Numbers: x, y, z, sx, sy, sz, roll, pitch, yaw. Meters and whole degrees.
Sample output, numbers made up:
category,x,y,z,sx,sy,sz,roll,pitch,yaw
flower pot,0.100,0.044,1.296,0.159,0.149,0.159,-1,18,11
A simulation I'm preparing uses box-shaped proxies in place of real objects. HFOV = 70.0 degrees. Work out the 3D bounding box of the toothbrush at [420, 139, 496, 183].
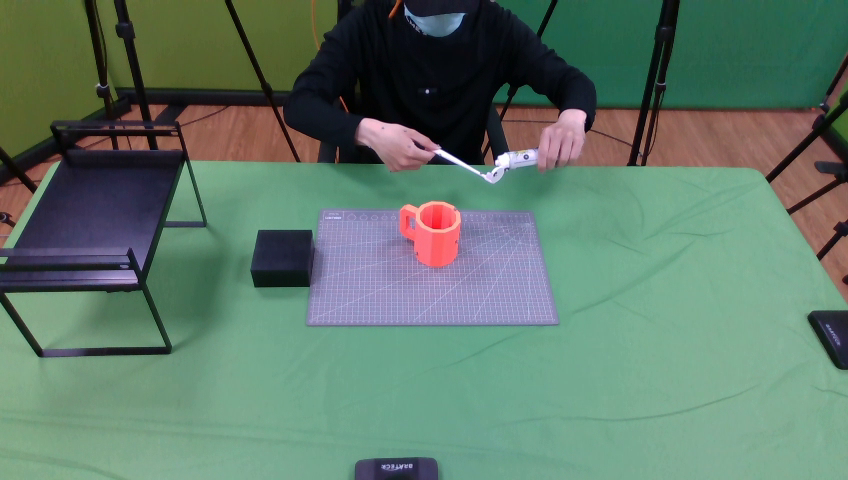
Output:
category,x,y,z,sx,sy,sz,roll,pitch,yaw
toothbrush,0.067,-0.163,1.225,0.181,0.017,0.014,30,56,18

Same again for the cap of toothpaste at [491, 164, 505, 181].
category,x,y,z,sx,sy,sz,roll,pitch,yaw
cap of toothpaste,0.140,-0.131,1.165,0.037,0.037,0.011,-32,59,-30

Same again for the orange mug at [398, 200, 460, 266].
category,x,y,z,sx,sy,sz,roll,pitch,yaw
orange mug,0.007,-0.020,1.161,0.126,0.101,0.083,27,50,15

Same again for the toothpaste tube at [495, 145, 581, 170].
category,x,y,z,sx,sy,sz,roll,pitch,yaw
toothpaste tube,0.220,-0.165,1.187,0.165,0.035,0.054,-11,32,-6
